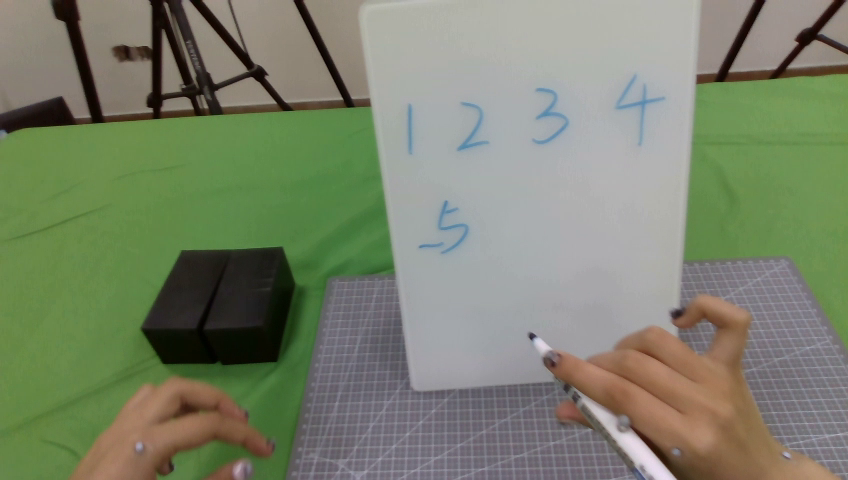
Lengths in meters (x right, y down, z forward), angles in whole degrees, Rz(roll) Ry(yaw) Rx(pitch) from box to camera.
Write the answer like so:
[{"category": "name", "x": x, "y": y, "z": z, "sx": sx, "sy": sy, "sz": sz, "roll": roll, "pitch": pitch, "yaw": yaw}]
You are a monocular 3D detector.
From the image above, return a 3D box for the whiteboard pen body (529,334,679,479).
[{"category": "whiteboard pen body", "x": 0.098, "y": 0.098, "z": 0.334, "sx": 0.017, "sy": 0.017, "sz": 0.139, "roll": -22, "pitch": 42, "yaw": -17}]

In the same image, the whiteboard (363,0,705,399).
[{"category": "whiteboard", "x": 0.085, "y": -0.045, "z": 0.498, "sx": 0.217, "sy": 0.307, "sz": 0.143, "roll": -4, "pitch": 23, "yaw": 4}]
